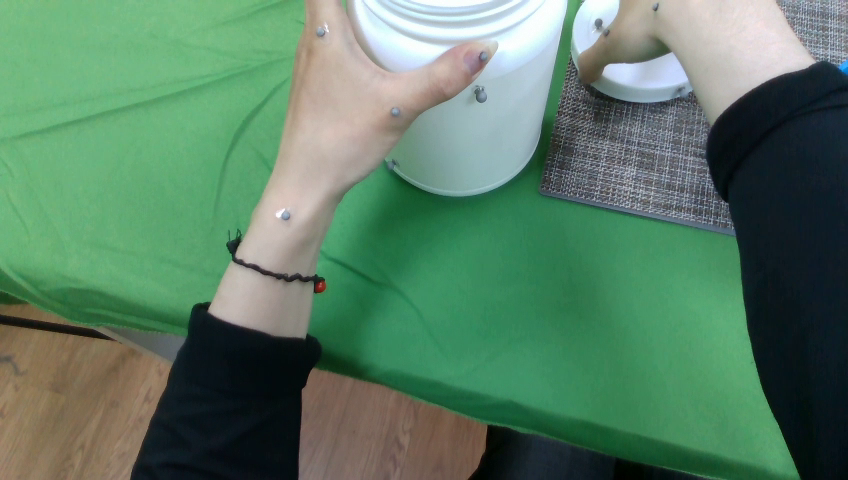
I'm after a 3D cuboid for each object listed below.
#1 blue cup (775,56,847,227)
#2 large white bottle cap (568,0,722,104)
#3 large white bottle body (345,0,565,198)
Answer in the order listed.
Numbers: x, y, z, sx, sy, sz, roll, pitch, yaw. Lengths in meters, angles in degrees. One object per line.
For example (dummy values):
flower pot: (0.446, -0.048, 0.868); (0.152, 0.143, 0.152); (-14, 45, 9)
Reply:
blue cup: (0.282, -0.057, 0.397); (0.092, 0.101, 0.092); (-2, 65, 4)
large white bottle cap: (0.173, -0.160, 0.478); (0.115, 0.018, 0.114); (-3, 67, 7)
large white bottle body: (0.020, -0.125, 0.399); (0.130, 0.186, 0.129); (-1, 66, 3)
